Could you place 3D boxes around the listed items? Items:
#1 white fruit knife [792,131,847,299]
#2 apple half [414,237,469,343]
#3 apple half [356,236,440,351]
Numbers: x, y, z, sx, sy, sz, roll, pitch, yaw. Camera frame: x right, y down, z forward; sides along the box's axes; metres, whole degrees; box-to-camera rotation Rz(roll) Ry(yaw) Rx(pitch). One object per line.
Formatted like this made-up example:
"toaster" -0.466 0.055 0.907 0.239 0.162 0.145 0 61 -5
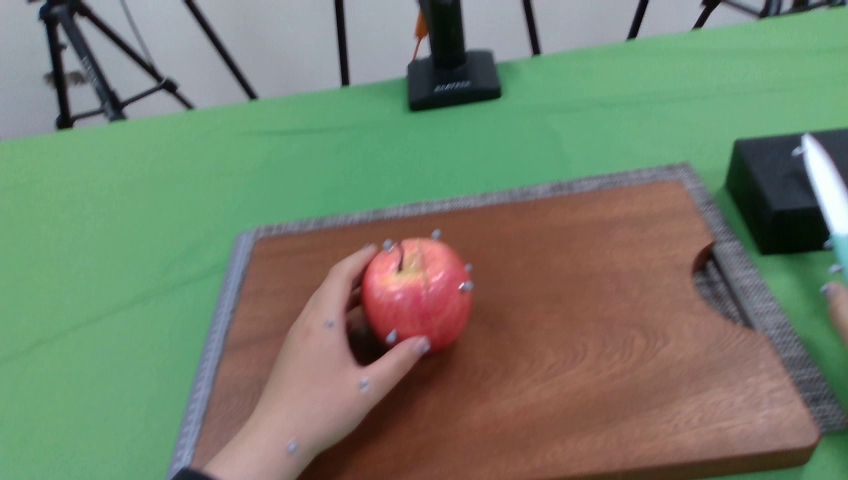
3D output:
"white fruit knife" 0.316 0.000 0.457 0.027 0.016 0.205 -6 61 5
"apple half" 0.017 0.034 0.443 0.033 0.082 0.080 -15 42 1
"apple half" -0.021 0.043 0.443 0.053 0.075 0.080 -15 45 2
